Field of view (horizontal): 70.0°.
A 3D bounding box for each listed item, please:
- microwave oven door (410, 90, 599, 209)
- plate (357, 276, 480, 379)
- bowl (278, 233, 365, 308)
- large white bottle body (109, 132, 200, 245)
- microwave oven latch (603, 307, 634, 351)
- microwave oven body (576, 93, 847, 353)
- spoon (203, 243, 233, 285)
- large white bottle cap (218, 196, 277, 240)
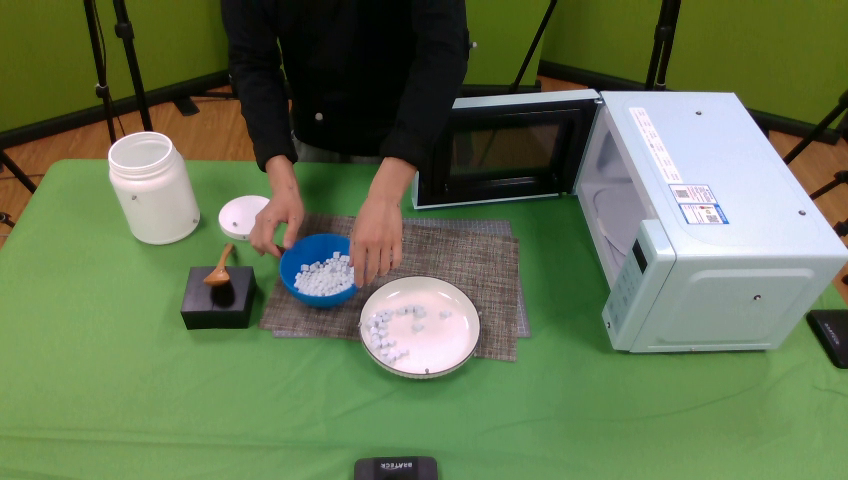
[{"bbox_3d":[0.152,-0.177,1.210,0.356,0.245,0.039,-6,47,-10],"label":"microwave oven door"},{"bbox_3d":[-0.010,0.151,1.038,0.209,0.038,0.208,2,47,-2],"label":"plate"},{"bbox_3d":[-0.179,0.068,1.077,0.151,0.077,0.150,3,45,-3],"label":"bowl"},{"bbox_3d":[-0.506,-0.097,1.141,0.131,0.185,0.130,2,46,-2],"label":"large white bottle body"},{"bbox_3d":[0.332,0.153,1.044,0.030,0.029,0.078,0,45,-4],"label":"microwave oven latch"},{"bbox_3d":[0.475,-0.041,1.109,0.326,0.261,0.438,-1,45,-4],"label":"microwave oven body"},{"bbox_3d":[-0.360,0.039,1.087,0.041,0.022,0.192,-5,24,-7],"label":"spoon"},{"bbox_3d":[-0.355,-0.046,1.220,0.115,0.018,0.114,1,45,-1],"label":"large white bottle cap"}]
